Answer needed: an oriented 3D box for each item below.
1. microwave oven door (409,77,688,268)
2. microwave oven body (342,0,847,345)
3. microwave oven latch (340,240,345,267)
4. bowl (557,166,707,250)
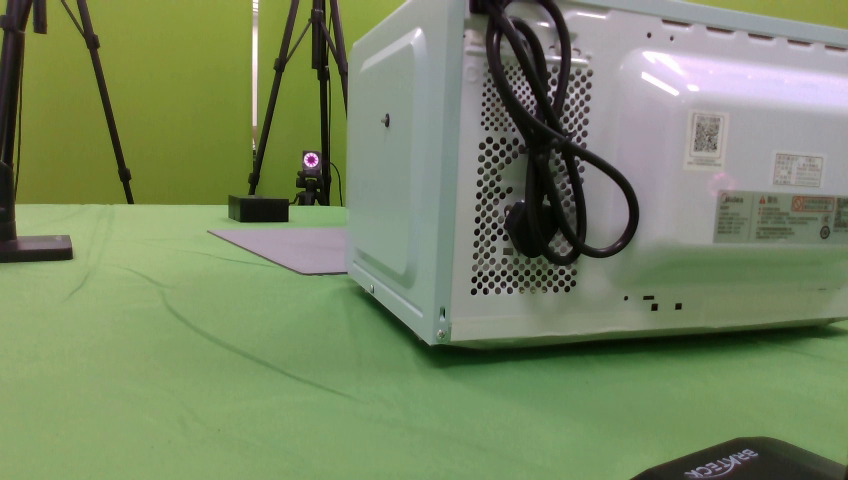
[{"bbox_3d":[0.159,-0.097,0.825,0.355,0.243,0.039,4,8,15],"label":"microwave oven door"},{"bbox_3d":[0.169,-0.060,0.573,0.444,0.260,0.324,1,7,-20],"label":"microwave oven body"},{"bbox_3d":[-0.052,0.016,0.662,0.079,0.029,0.030,1,7,-18],"label":"microwave oven latch"},{"bbox_3d":[0.214,-0.035,0.640,0.151,0.077,0.151,2,11,0],"label":"bowl"}]
